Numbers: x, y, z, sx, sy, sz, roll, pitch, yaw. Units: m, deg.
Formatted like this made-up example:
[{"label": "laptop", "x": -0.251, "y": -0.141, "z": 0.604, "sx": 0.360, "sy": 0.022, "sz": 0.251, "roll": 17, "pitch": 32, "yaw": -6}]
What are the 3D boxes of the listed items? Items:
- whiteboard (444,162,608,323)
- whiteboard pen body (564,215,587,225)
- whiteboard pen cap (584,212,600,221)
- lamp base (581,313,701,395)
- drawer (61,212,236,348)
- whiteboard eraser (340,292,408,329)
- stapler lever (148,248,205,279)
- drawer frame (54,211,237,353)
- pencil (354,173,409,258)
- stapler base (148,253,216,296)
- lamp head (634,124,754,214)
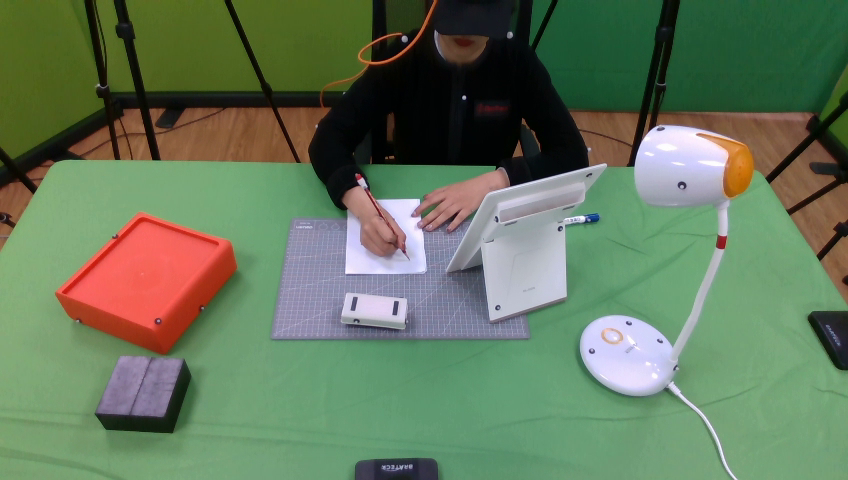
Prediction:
[{"label": "whiteboard", "x": 0.186, "y": 0.026, "z": 1.028, "sx": 0.217, "sy": 0.306, "sz": 0.143, "roll": -14, "pitch": 68, "yaw": -17}, {"label": "whiteboard pen body", "x": 0.291, "y": -0.040, "z": 1.261, "sx": 0.141, "sy": 0.017, "sz": 0.017, "roll": -6, "pitch": 47, "yaw": -11}, {"label": "whiteboard pen cap", "x": 0.351, "y": -0.048, "z": 1.271, "sx": 0.033, "sy": 0.018, "sz": 0.018, "roll": -6, "pitch": 47, "yaw": -11}, {"label": "lamp base", "x": 0.361, "y": 0.144, "z": 0.973, "sx": 0.178, "sy": 0.181, "sz": 0.160, "roll": 34, "pitch": 53, "yaw": 23}, {"label": "drawer", "x": -0.473, "y": 0.064, "z": 1.060, "sx": 0.194, "sy": 0.073, "sz": 0.211, "roll": 18, "pitch": 48, "yaw": 11}, {"label": "whiteboard eraser", "x": -0.087, "y": 0.125, "z": 1.052, "sx": 0.113, "sy": 0.042, "sz": 0.055, "roll": 5, "pitch": 45, "yaw": 1}, {"label": "stapler lever", "x": -0.444, "y": 0.038, "z": 1.083, "sx": 0.118, "sy": 0.040, "sz": 0.027, "roll": 19, "pitch": 51, "yaw": 17}, {"label": "drawer frame", "x": -0.473, "y": 0.067, "z": 1.055, "sx": 0.201, "sy": 0.083, "sz": 0.212, "roll": 17, "pitch": 48, "yaw": 11}, {"label": "pencil", "x": -0.077, "y": -0.043, "z": 1.138, "sx": 0.012, "sy": 0.195, "sz": 0.012, "roll": -28, "pitch": 18, "yaw": 10}, {"label": "stapler base", "x": -0.443, "y": 0.058, "z": 1.108, "sx": 0.130, "sy": 0.024, "sz": 0.041, "roll": 24, "pitch": 52, "yaw": 12}, {"label": "lamp head", "x": 0.351, "y": -0.089, "z": 0.776, "sx": 0.112, "sy": 0.113, "sz": 0.122, "roll": -30, "pitch": 30, "yaw": -28}]
